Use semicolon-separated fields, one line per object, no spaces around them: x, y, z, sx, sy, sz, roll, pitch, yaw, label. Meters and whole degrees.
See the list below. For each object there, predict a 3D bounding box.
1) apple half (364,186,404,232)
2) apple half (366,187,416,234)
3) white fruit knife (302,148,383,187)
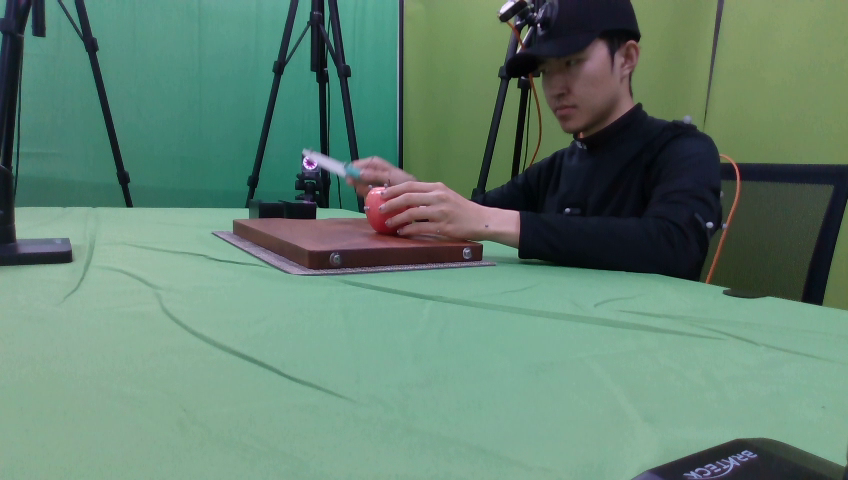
-0.070;-0.051;0.969;0.082;0.081;0.032;-4;13;-42;apple half
-0.045;-0.045;0.941;0.081;0.074;0.053;1;10;-42;apple half
-0.144;-0.130;1.100;0.016;0.027;0.208;-14;-20;32;white fruit knife
